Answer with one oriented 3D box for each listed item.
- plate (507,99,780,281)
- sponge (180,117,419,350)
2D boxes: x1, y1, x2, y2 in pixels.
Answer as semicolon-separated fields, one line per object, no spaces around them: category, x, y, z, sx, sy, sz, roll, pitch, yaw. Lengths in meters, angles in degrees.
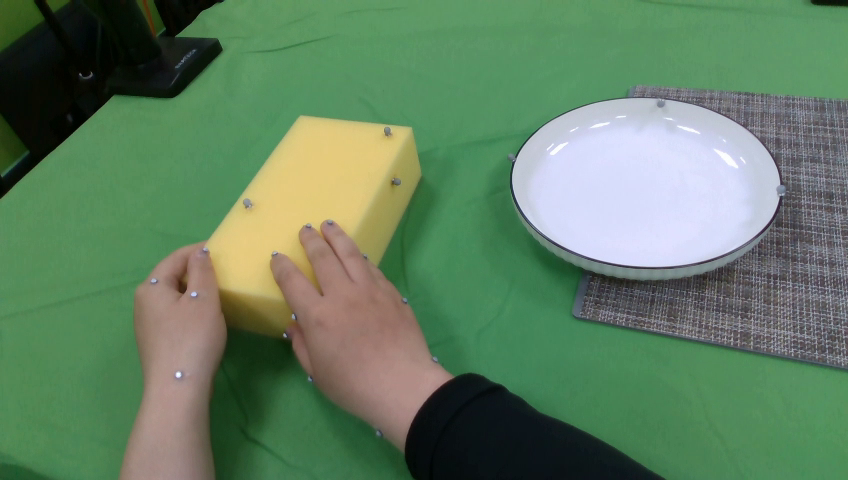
plate;0.175;-0.043;0.502;0.209;0.038;0.207;-6;46;6
sponge;-0.095;-0.016;0.522;0.118;0.061;0.205;9;50;18
